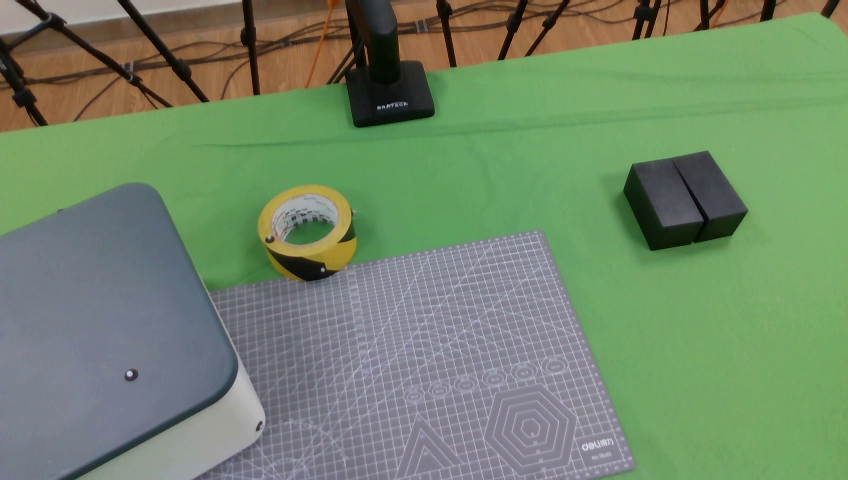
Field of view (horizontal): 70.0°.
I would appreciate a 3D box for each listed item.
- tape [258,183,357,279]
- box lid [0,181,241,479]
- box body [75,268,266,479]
[{"bbox_3d":[-0.141,-0.012,0.736,0.117,0.053,0.115,-1,53,1],"label":"tape"},{"bbox_3d":[-0.362,0.104,0.505,0.372,0.015,0.260,-28,60,-16],"label":"box lid"},{"bbox_3d":[-0.362,0.147,0.566,0.364,0.162,0.251,-28,60,-16],"label":"box body"}]
